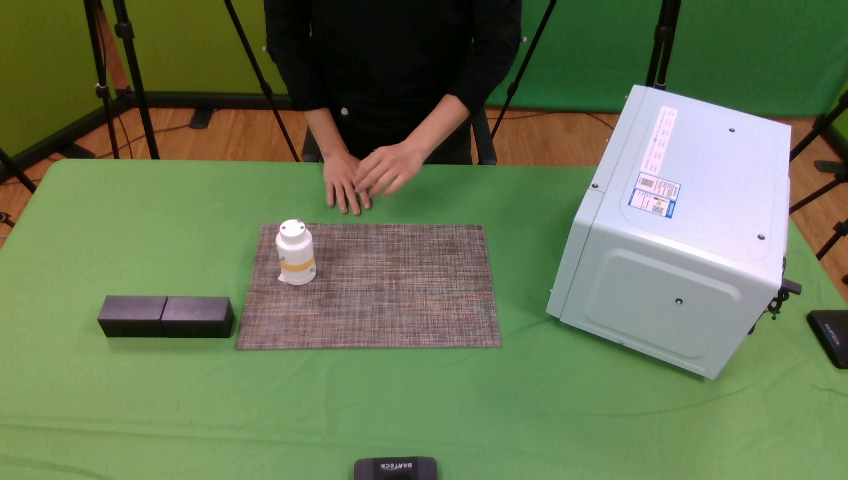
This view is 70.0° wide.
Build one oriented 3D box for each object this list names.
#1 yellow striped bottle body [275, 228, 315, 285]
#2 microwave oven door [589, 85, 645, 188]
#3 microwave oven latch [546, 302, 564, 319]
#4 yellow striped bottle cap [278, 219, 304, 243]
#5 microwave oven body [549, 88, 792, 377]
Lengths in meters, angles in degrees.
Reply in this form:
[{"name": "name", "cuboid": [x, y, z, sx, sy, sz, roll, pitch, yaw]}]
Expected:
[{"name": "yellow striped bottle body", "cuboid": [-0.231, 0.021, 1.085, 0.063, 0.121, 0.062, 2, 46, -2]}, {"name": "microwave oven door", "cuboid": [0.341, -0.107, 1.149, 0.039, 0.245, 0.354, 20, 48, 15]}, {"name": "microwave oven latch", "cuboid": [0.242, 0.102, 1.081, 0.030, 0.029, 0.079, 21, 48, 17]}, {"name": "yellow striped bottle cap", "cuboid": [-0.229, -0.016, 1.047, 0.044, 0.019, 0.044, 3, 44, -3]}, {"name": "microwave oven body", "cuboid": [0.456, -0.028, 1.088, 0.325, 0.261, 0.440, 20, 47, 16]}]
